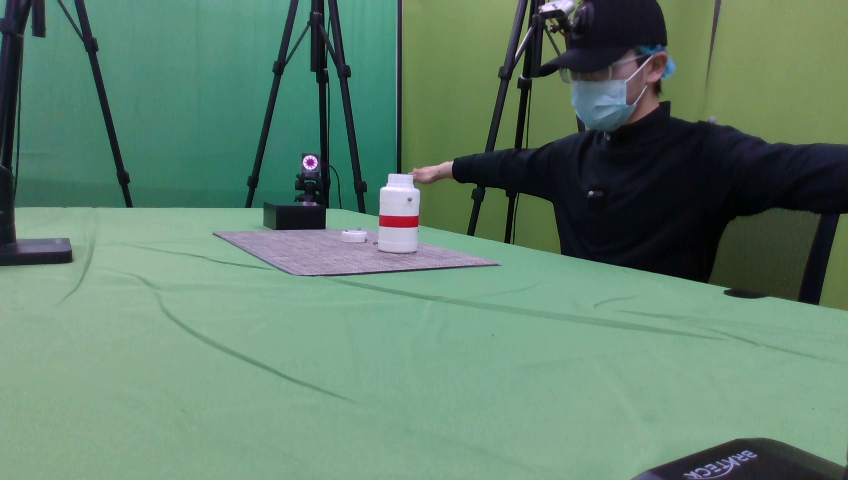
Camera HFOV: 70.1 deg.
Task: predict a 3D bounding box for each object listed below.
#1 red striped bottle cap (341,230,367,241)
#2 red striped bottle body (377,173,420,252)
[{"bbox_3d":[-0.120,-0.008,1.034,0.044,0.017,0.044,-2,2,0],"label":"red striped bottle cap"},{"bbox_3d":[-0.039,-0.044,0.936,0.063,0.119,0.063,2,7,0],"label":"red striped bottle body"}]
